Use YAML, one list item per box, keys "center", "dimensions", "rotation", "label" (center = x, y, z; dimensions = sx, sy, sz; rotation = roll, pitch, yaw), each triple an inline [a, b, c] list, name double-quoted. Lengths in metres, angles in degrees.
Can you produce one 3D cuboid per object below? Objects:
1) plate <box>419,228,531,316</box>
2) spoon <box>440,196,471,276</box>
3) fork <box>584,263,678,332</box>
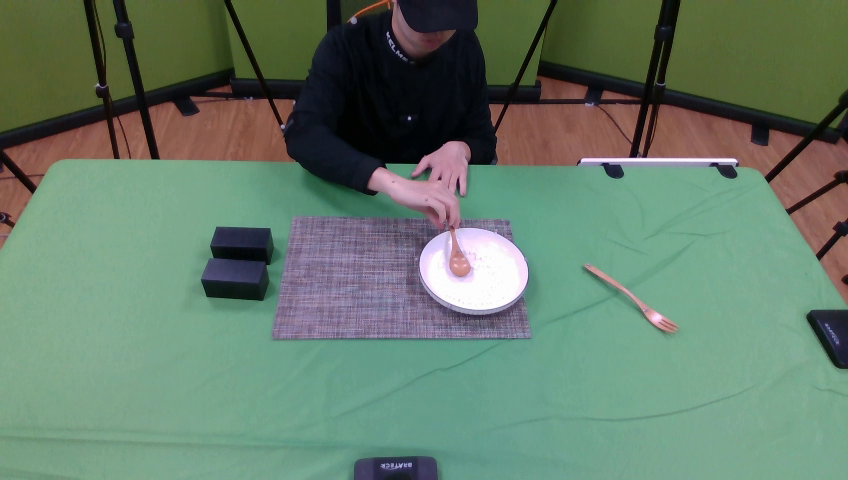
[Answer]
- center: [0.093, 0.062, 1.131]
  dimensions: [0.208, 0.039, 0.206]
  rotation: [2, 46, -2]
  label: "plate"
- center: [0.055, -0.011, 1.177]
  dimensions: [0.041, 0.022, 0.192]
  rotation: [-6, 60, -8]
  label: "spoon"
- center: [0.380, 0.103, 1.130]
  dimensions: [0.028, 0.019, 0.206]
  rotation: [-34, 58, -23]
  label: "fork"
